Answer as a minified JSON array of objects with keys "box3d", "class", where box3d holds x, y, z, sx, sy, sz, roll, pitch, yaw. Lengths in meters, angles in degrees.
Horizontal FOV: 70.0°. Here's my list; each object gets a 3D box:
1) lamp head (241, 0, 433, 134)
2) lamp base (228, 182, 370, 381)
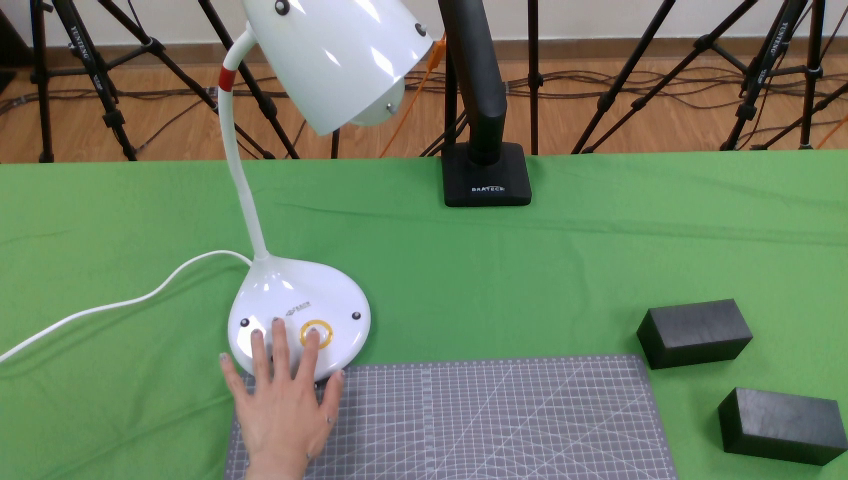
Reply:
[{"box3d":[-0.074,-0.153,0.435,0.124,0.112,0.112,45,54,-18],"class":"lamp head"},{"box3d":[-0.151,0.034,0.644,0.177,0.182,0.160,35,58,28],"class":"lamp base"}]
